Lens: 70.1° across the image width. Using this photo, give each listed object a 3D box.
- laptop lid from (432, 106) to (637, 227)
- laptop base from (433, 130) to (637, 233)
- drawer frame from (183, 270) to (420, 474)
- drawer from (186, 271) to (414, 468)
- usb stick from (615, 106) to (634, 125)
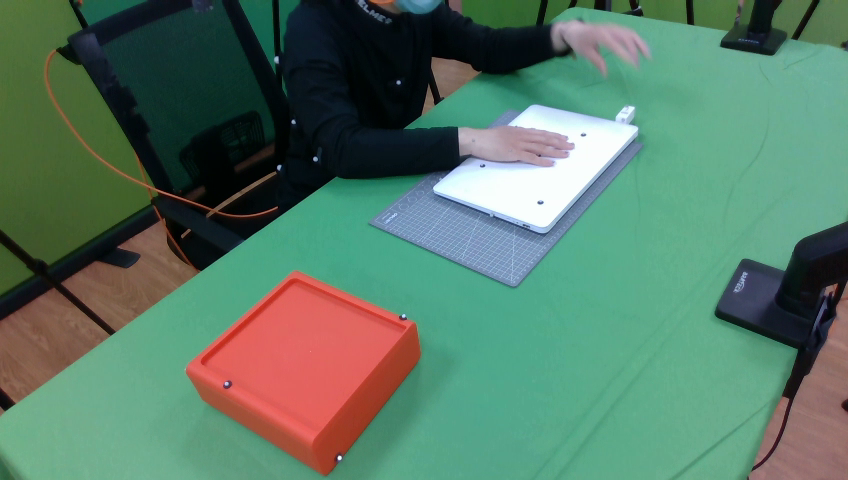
[{"bbox_3d":[0.207,-0.151,1.105,0.239,0.013,0.358,23,48,34],"label":"laptop lid"},{"bbox_3d":[0.210,-0.142,1.111,0.233,0.023,0.355,21,47,34],"label":"laptop base"},{"bbox_3d":[-0.148,0.153,0.767,0.212,0.083,0.202,20,46,27],"label":"drawer frame"},{"bbox_3d":[-0.151,0.153,0.768,0.210,0.073,0.195,20,46,28],"label":"drawer"},{"bbox_3d":[0.385,-0.234,1.173,0.021,0.027,0.059,21,53,29],"label":"usb stick"}]
